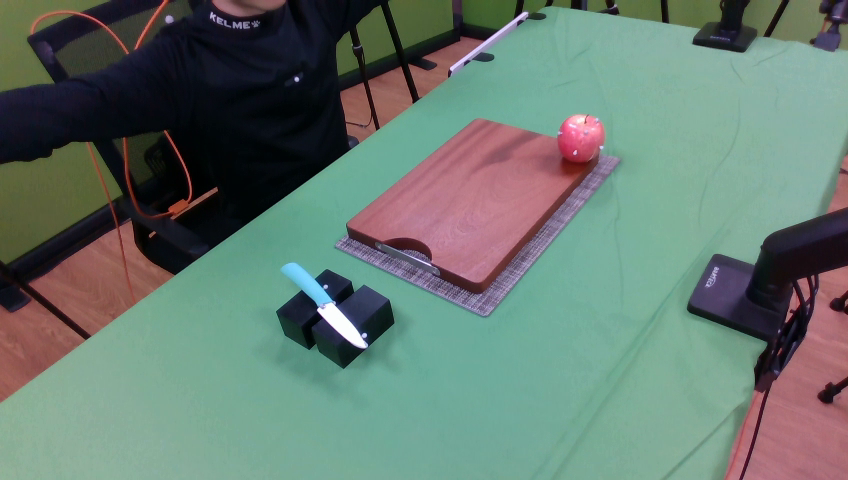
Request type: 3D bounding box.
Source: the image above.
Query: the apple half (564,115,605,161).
[{"bbox_3d":[0.284,-0.181,1.056,0.053,0.075,0.080,-32,44,-31],"label":"apple half"}]

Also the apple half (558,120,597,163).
[{"bbox_3d":[0.255,-0.163,1.037,0.033,0.081,0.080,-33,46,-31],"label":"apple half"}]

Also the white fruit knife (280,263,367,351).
[{"bbox_3d":[-0.136,0.087,0.819,0.027,0.016,0.205,-46,53,-7],"label":"white fruit knife"}]
